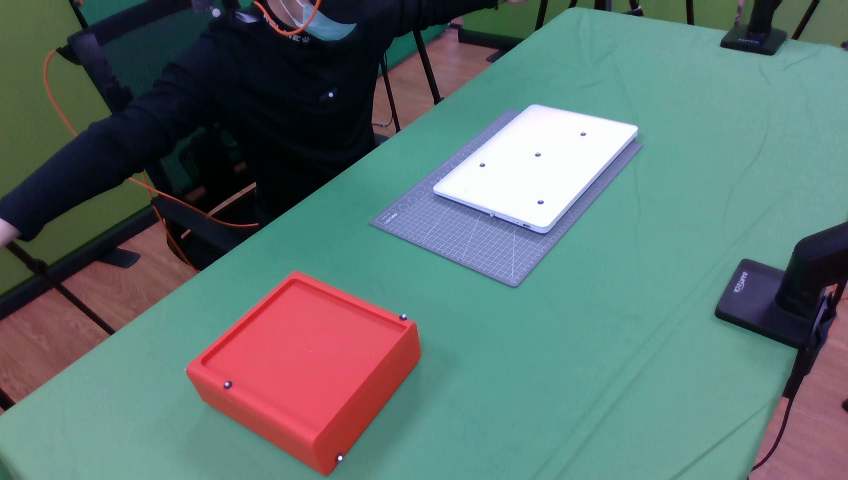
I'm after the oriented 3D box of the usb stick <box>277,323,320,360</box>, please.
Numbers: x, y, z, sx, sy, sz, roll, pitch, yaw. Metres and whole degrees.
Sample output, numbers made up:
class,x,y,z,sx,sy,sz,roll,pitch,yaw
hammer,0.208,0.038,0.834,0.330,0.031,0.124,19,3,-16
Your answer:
class,x,y,z,sx,sy,sz,roll,pitch,yaw
usb stick,-0.172,0.139,0.816,0.059,0.027,0.021,-31,42,-23

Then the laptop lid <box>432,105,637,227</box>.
class,x,y,z,sx,sy,sz,roll,pitch,yaw
laptop lid,0.207,-0.152,1.104,0.239,0.013,0.358,23,49,34

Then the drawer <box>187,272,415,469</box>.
class,x,y,z,sx,sy,sz,roll,pitch,yaw
drawer,-0.150,0.154,0.768,0.210,0.073,0.195,20,46,27

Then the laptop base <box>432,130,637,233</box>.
class,x,y,z,sx,sy,sz,roll,pitch,yaw
laptop base,0.210,-0.142,1.111,0.233,0.023,0.355,21,47,33

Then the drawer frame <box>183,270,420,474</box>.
class,x,y,z,sx,sy,sz,roll,pitch,yaw
drawer frame,-0.148,0.153,0.767,0.212,0.083,0.202,19,46,27
